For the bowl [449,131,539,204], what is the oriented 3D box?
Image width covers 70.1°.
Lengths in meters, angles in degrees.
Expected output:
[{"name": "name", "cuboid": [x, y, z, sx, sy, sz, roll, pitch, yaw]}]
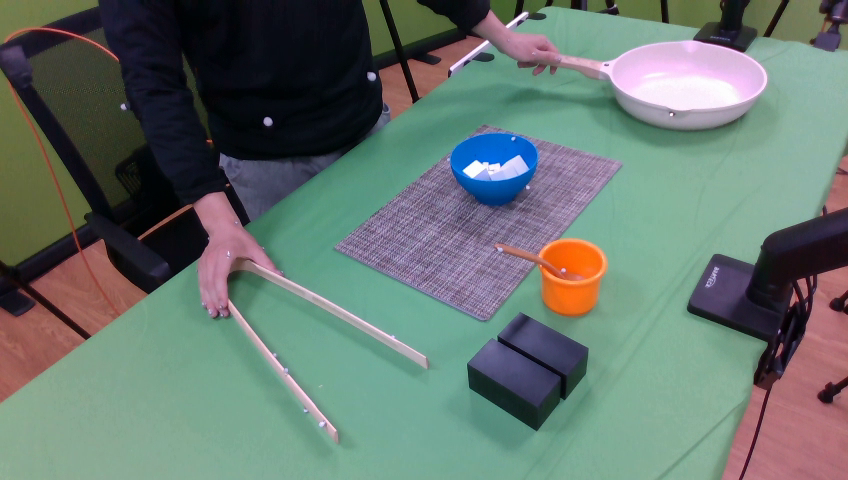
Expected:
[{"name": "bowl", "cuboid": [0.121, -0.114, 1.034, 0.151, 0.077, 0.150, -4, 41, 4]}]

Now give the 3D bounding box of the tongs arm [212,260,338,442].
[{"name": "tongs arm", "cuboid": [-0.208, 0.135, 0.830, 0.051, 0.026, 0.381, -31, 45, -28]}]

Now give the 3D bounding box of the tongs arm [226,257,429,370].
[{"name": "tongs arm", "cuboid": [-0.150, 0.098, 0.873, 0.384, 0.028, 0.028, 22, 50, 30]}]

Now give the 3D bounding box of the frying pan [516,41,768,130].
[{"name": "frying pan", "cuboid": [0.423, -0.337, 1.236, 0.486, 0.103, 0.307, 18, 45, 15]}]

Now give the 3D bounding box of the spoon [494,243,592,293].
[{"name": "spoon", "cuboid": [0.162, 0.034, 0.808, 0.021, 0.195, 0.041, -47, 40, 21]}]
